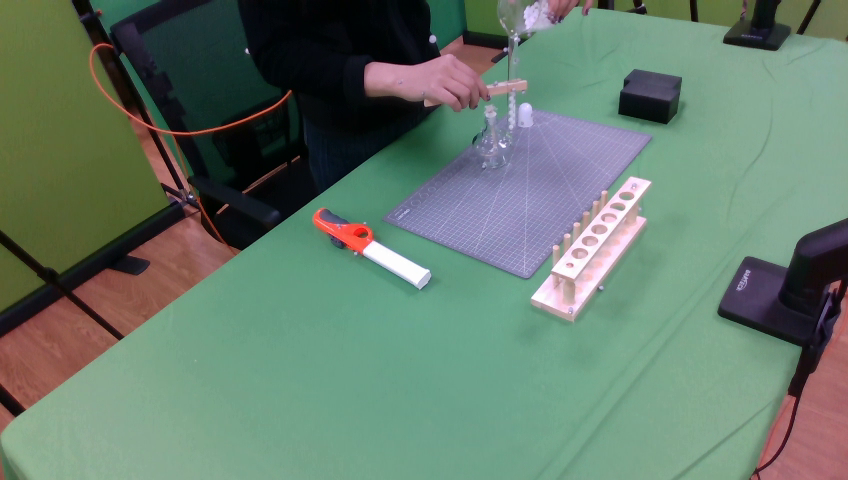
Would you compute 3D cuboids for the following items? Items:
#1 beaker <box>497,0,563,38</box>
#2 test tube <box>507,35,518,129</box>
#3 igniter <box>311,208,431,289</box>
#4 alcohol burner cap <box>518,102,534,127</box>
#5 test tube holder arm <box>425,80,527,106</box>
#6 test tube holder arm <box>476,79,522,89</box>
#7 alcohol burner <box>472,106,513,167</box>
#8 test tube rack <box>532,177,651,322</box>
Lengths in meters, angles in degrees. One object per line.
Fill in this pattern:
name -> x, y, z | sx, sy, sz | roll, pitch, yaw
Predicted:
beaker -> 0.172, -0.365, 0.961 | 0.073, 0.084, 0.101 | 29, 33, 25
test tube -> 0.143, -0.253, 0.980 | 0.017, 0.150, 0.017 | -2, 27, 2
igniter -> -0.096, 0.008, 0.985 | 0.274, 0.025, 0.057 | 28, 63, 36
alcohol burner cap -> 0.205, -0.255, 1.223 | 0.034, 0.048, 0.033 | -6, 40, 6
test tube holder arm -> 0.084, -0.232, 0.952 | 0.179, 0.015, 0.013 | -15, 25, -21
test tube holder arm -> 0.121, -0.245, 0.975 | 0.088, 0.015, 0.010 | -18, 27, -27
alcohol burner -> 0.126, -0.194, 1.111 | 0.078, 0.119, 0.077 | -4, 42, 5
test tube rack -> 0.247, 0.002, 0.883 | 0.066, 0.085, 0.243 | 22, 49, 32
